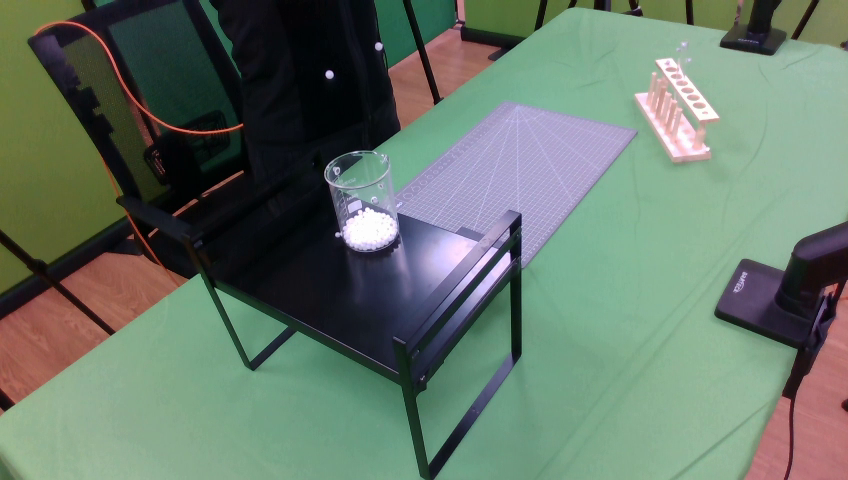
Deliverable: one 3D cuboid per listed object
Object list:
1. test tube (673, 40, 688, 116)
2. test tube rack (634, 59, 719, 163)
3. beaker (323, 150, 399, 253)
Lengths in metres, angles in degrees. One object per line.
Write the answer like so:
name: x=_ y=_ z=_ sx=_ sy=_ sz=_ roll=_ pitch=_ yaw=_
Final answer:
test tube: x=0.477 y=-0.299 z=1.127 sx=0.017 sy=0.151 sz=0.017 roll=-7 pitch=40 yaw=7
test tube rack: x=0.470 y=-0.250 z=1.148 sx=0.067 sy=0.085 sz=0.241 roll=-6 pitch=40 yaw=3
beaker: x=-0.067 y=-0.043 z=0.699 sx=0.073 sy=0.101 sz=0.084 roll=28 pitch=51 yaw=35
